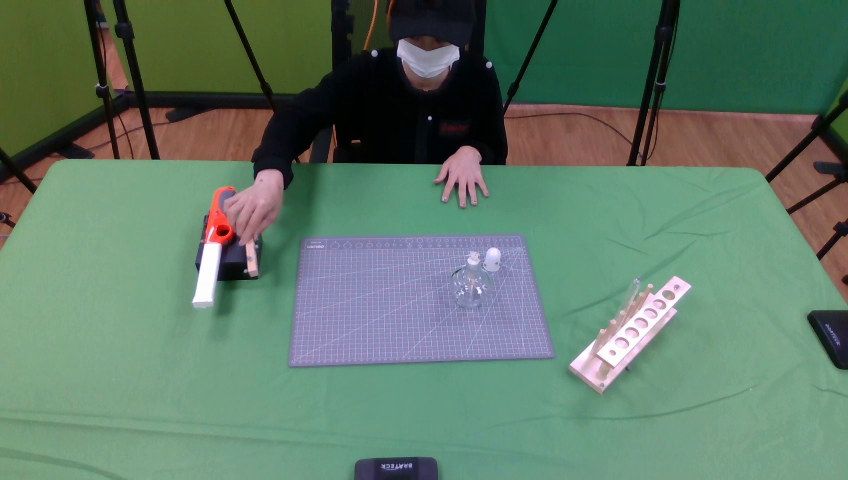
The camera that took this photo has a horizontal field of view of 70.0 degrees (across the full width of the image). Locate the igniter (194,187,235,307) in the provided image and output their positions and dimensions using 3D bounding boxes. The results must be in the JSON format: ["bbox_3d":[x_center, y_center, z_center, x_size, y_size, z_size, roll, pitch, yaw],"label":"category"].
[{"bbox_3d":[-0.378,0.003,1.096,0.057,0.025,0.274,-1,49,-6],"label":"igniter"}]

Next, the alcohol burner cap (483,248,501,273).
[{"bbox_3d":[0.130,0.037,1.156,0.034,0.048,0.033,1,46,-1],"label":"alcohol burner cap"}]

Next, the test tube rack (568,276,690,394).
[{"bbox_3d":[0.353,0.149,1.039,0.242,0.085,0.066,-34,56,-31],"label":"test tube rack"}]

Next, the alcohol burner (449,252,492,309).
[{"bbox_3d":[0.084,0.066,1.074,0.078,0.120,0.077,1,44,-1],"label":"alcohol burner"}]

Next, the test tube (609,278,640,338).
[{"bbox_3d":[0.331,0.115,1.007,0.017,0.151,0.017,2,45,-2],"label":"test tube"}]

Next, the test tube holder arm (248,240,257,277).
[{"bbox_3d":[-0.305,0.029,1.066,0.015,0.010,0.087,-11,51,-11],"label":"test tube holder arm"}]

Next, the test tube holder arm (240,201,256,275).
[{"bbox_3d":[-0.317,-0.008,1.089,0.015,0.013,0.177,-11,51,-11],"label":"test tube holder arm"}]
